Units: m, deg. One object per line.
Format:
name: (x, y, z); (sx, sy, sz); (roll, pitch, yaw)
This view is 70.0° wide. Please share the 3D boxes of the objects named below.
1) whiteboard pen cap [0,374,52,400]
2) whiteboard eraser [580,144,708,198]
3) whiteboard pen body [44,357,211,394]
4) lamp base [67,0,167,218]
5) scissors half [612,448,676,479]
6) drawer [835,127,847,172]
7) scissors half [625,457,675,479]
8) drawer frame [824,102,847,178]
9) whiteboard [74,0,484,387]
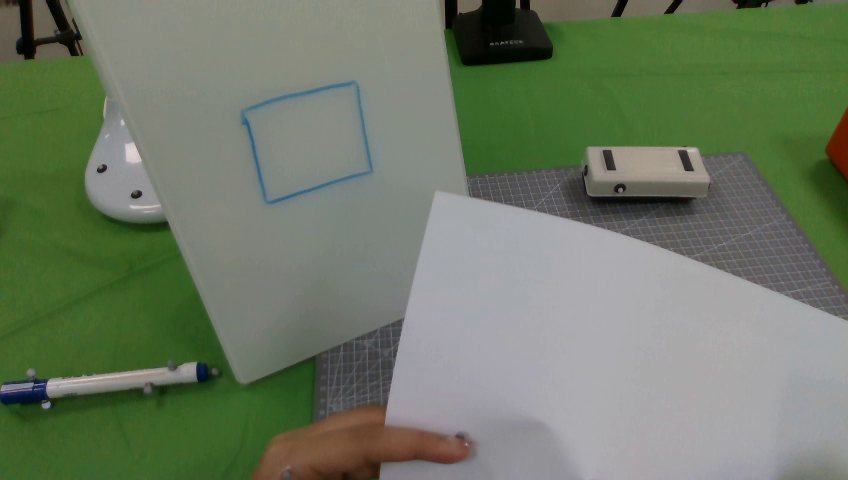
whiteboard pen cap: (-0.295, 0.110, 0.453); (0.033, 0.018, 0.018); (-4, 46, -11)
whiteboard eraser: (0.213, -0.067, 0.595); (0.112, 0.042, 0.055); (0, 45, 2)
whiteboard pen body: (-0.236, 0.104, 0.461); (0.141, 0.017, 0.017); (-5, 46, -8)
lamp base: (-0.281, -0.138, 0.584); (0.178, 0.182, 0.160); (26, 52, 27)
scissors half: (0.159, 0.130, 0.251); (0.174, 0.040, 0.013); (26, 88, 11)
drawer: (0.522, -0.044, 0.542); (0.194, 0.074, 0.209); (-3, 46, 0)
scissors half: (0.158, 0.131, 0.274); (0.176, 0.040, 0.013); (28, 83, -17)
drawer frame: (0.522, -0.049, 0.546); (0.202, 0.083, 0.211); (-4, 46, -1)
whiteboard: (-0.097, -0.081, 0.479); (0.217, 0.308, 0.142); (-21, 30, -16)
